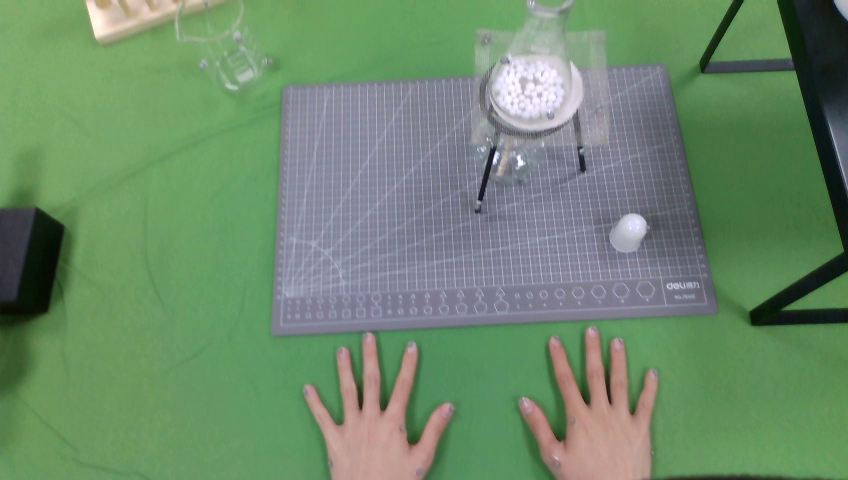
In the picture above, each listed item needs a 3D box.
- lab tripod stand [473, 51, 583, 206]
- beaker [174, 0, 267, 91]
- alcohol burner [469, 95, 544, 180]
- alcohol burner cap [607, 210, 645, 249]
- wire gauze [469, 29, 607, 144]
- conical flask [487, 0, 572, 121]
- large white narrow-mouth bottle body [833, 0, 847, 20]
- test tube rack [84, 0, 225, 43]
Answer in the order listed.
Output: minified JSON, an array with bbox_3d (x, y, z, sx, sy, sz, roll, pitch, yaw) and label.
[{"bbox_3d":[0.099,-0.113,0.611,0.148,0.132,0.147,0,68,1],"label":"lab tripod stand"},{"bbox_3d":[-0.228,-0.224,0.688,0.084,0.101,0.073,-43,73,-12],"label":"beaker"},{"bbox_3d":[0.087,-0.111,0.621,0.078,0.120,0.077,0,69,1],"label":"alcohol burner"},{"bbox_3d":[0.208,-0.014,0.618,0.034,0.048,0.033,-1,70,2],"label":"alcohol burner cap"},{"bbox_3d":[0.103,-0.141,0.551,0.121,0.011,0.124,3,68,1],"label":"wire gauze"},{"bbox_3d":[0.092,-0.159,0.494,0.075,0.122,0.075,-1,69,2],"label":"conical flask"},{"bbox_3d":[0.387,-0.242,0.425,0.102,0.196,0.101,-1,67,2],"label":"large white narrow-mouth bottle body"},{"bbox_3d":[-0.307,-0.332,0.739,0.242,0.086,0.066,-22,70,-6],"label":"test tube rack"}]
